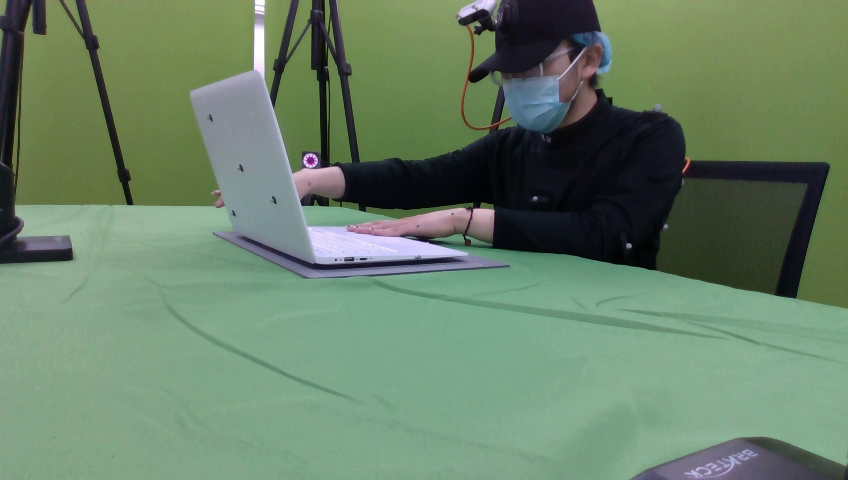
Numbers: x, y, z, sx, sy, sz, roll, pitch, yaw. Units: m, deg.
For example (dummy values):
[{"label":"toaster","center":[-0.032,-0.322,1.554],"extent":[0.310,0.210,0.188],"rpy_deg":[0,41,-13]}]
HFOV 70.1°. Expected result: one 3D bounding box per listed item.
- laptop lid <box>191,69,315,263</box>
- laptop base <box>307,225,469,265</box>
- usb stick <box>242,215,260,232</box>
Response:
[{"label":"laptop lid","center":[-0.250,-0.102,0.838],"extent":[0.013,0.242,0.355],"rpy_deg":[-22,20,-29]},{"label":"laptop base","center":[-0.125,0.005,0.936],"extent":[0.237,0.023,0.352],"rpy_deg":[2,6,-34]},{"label":"usb stick","center":[-0.299,-0.028,1.053],"extent":[0.021,0.027,0.059],"rpy_deg":[-2,12,-29]}]
